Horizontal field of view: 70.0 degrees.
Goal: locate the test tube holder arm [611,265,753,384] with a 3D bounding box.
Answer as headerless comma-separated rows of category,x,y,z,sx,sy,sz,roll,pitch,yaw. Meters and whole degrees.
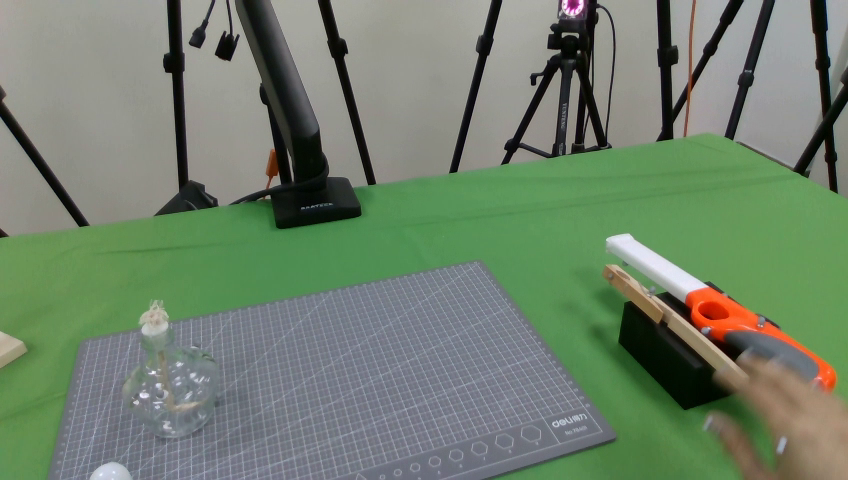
test tube holder arm,0.226,0.070,0.555,0.013,0.015,0.176,-11,31,-22

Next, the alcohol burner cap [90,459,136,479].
alcohol burner cap,-0.230,0.184,0.448,0.034,0.048,0.033,-1,31,1

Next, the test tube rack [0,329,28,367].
test tube rack,-0.491,0.124,0.521,0.066,0.086,0.242,14,34,24

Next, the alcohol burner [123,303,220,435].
alcohol burner,-0.215,0.105,0.511,0.078,0.120,0.077,-1,29,1

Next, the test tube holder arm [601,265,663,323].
test tube holder arm,0.203,0.051,0.589,0.010,0.015,0.087,-11,31,-20

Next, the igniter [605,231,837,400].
igniter,0.263,0.057,0.570,0.057,0.025,0.273,-12,29,-16
